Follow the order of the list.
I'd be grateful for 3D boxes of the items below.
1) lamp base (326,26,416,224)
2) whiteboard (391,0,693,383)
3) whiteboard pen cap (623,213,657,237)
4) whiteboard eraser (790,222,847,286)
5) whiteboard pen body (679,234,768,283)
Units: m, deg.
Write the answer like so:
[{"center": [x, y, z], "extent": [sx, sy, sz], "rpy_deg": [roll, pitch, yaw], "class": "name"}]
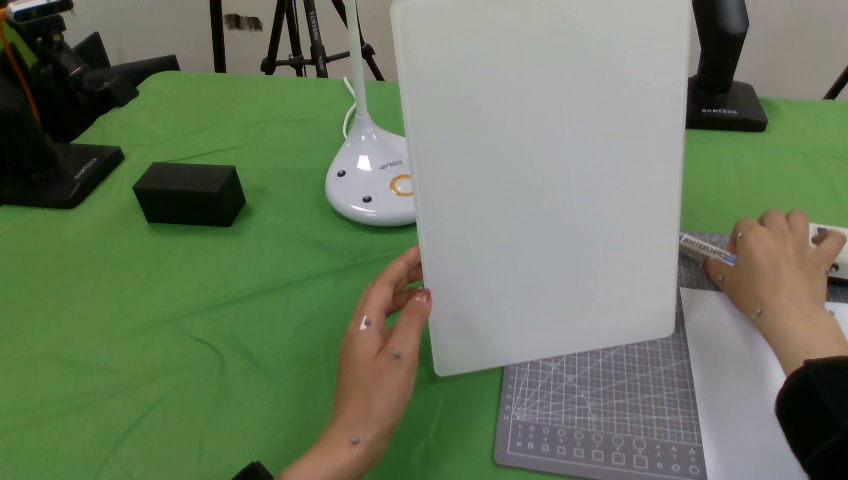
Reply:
[{"center": [-0.049, -0.135, 0.680], "extent": [0.161, 0.182, 0.177], "rpy_deg": [-28, 44, -25], "class": "lamp base"}, {"center": [0.092, -0.059, 0.532], "extent": [0.217, 0.307, 0.142], "rpy_deg": [-9, 22, -5], "class": "whiteboard"}, {"center": [0.230, -0.016, 0.642], "extent": [0.033, 0.018, 0.018], "rpy_deg": [27, 49, 37], "class": "whiteboard pen cap"}, {"center": [0.411, 0.019, 0.572], "extent": [0.112, 0.042, 0.055], "rpy_deg": [10, 41, 15], "class": "whiteboard eraser"}, {"center": [0.269, 0.008, 0.605], "extent": [0.017, 0.017, 0.139], "rpy_deg": [-34, 46, -30], "class": "whiteboard pen body"}]
